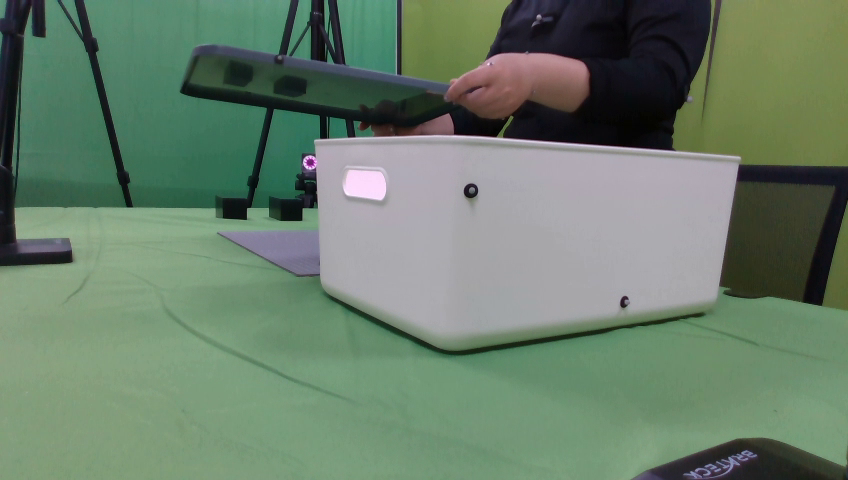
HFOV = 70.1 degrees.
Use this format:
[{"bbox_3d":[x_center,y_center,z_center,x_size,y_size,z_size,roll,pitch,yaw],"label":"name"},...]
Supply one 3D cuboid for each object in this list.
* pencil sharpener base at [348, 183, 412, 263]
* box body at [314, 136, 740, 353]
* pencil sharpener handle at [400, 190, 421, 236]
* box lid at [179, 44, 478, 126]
[{"bbox_3d":[-0.059,-0.024,0.845,0.077,0.107,0.061,-1,7,-30],"label":"pencil sharpener base"},{"bbox_3d":[0.098,-0.012,0.605,0.366,0.160,0.253,-2,8,-33],"label":"box body"},{"bbox_3d":[-0.016,-0.038,0.873,0.031,0.067,0.036,-1,20,-30],"label":"pencil sharpener handle"},{"bbox_3d":[-0.139,-0.202,0.844,0.373,0.015,0.262,3,0,-26],"label":"box lid"}]
